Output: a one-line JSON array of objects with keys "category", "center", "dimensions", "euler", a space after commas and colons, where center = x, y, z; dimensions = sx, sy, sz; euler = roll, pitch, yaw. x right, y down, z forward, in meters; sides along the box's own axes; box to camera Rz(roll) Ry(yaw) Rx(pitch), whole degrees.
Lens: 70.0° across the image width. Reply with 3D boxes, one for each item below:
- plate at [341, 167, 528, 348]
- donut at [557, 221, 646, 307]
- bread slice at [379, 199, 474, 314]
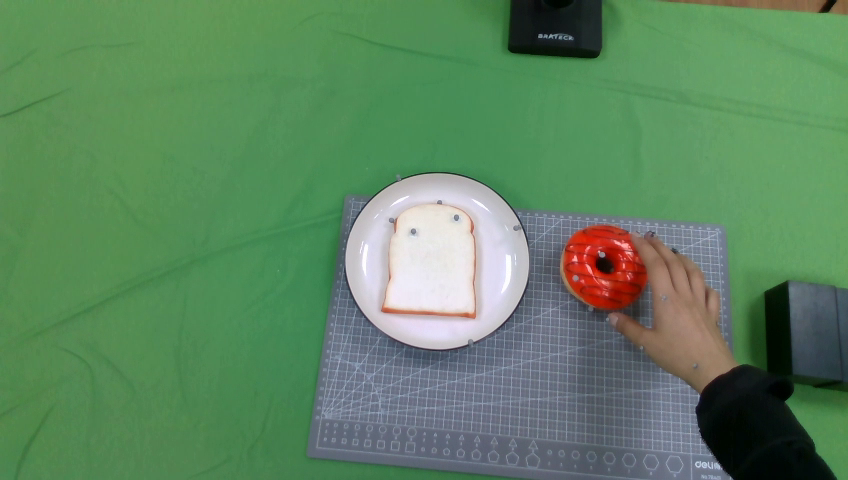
[{"category": "plate", "center": [0.012, 0.020, 0.682], "dimensions": [0.209, 0.038, 0.208], "euler": [0, 72, 0]}, {"category": "donut", "center": [0.198, 0.026, 0.676], "dimensions": [0.099, 0.048, 0.098], "euler": [1, 73, -2]}, {"category": "bread slice", "center": [0.005, 0.016, 0.685], "dimensions": [0.105, 0.019, 0.130], "euler": [2, 73, 0]}]
